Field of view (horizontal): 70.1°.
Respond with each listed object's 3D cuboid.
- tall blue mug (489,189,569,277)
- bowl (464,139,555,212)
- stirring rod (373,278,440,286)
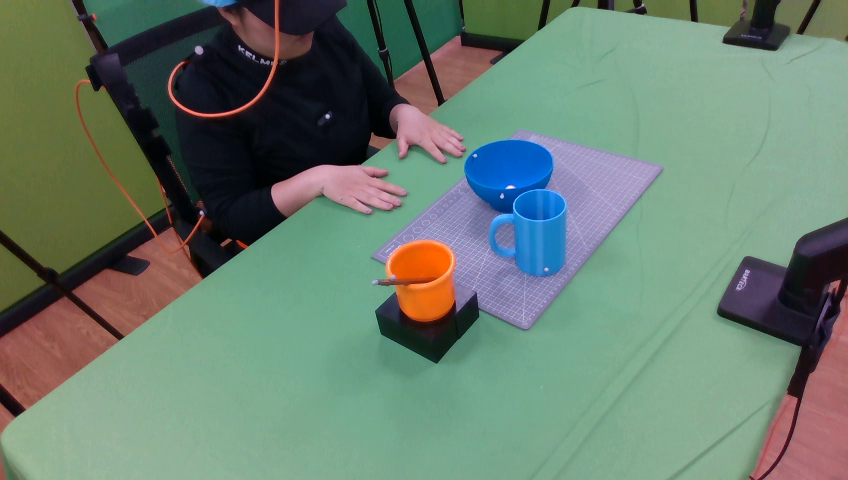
[{"bbox_3d":[0.158,-0.005,0.886,0.107,0.108,0.077,-23,43,-16],"label":"tall blue mug"},{"bbox_3d":[0.145,-0.100,1.025,0.151,0.077,0.150,-5,40,5],"label":"bowl"},{"bbox_3d":[-0.018,0.051,0.757,0.014,0.006,0.177,10,2,24],"label":"stirring rod"}]
